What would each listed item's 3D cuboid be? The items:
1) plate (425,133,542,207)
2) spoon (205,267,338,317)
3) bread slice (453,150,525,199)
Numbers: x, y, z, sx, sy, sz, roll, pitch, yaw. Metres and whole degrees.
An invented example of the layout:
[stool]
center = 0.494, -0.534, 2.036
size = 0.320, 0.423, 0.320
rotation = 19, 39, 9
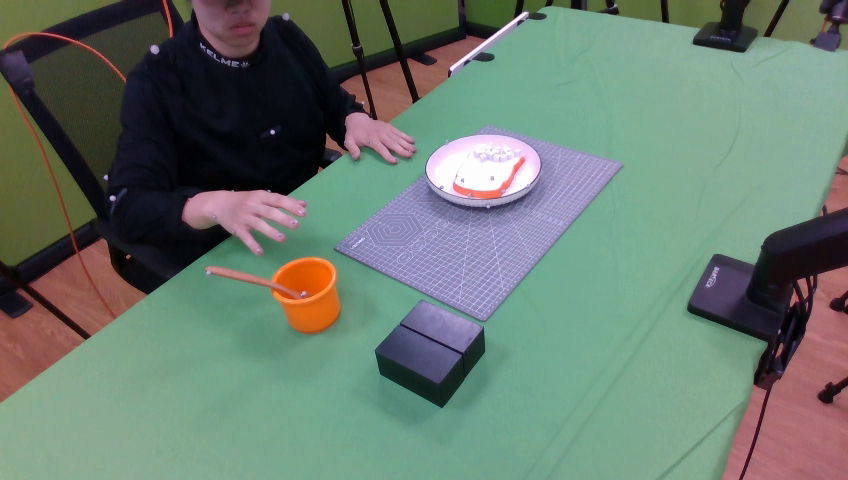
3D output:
[plate]
center = 0.106, -0.121, 1.079
size = 0.209, 0.038, 0.208
rotation = -4, 41, 4
[spoon]
center = -0.203, 0.067, 0.822
size = 0.021, 0.195, 0.041
rotation = -45, 38, 24
[bread slice]
center = 0.112, -0.118, 1.079
size = 0.104, 0.019, 0.131
rotation = 12, 42, 21
